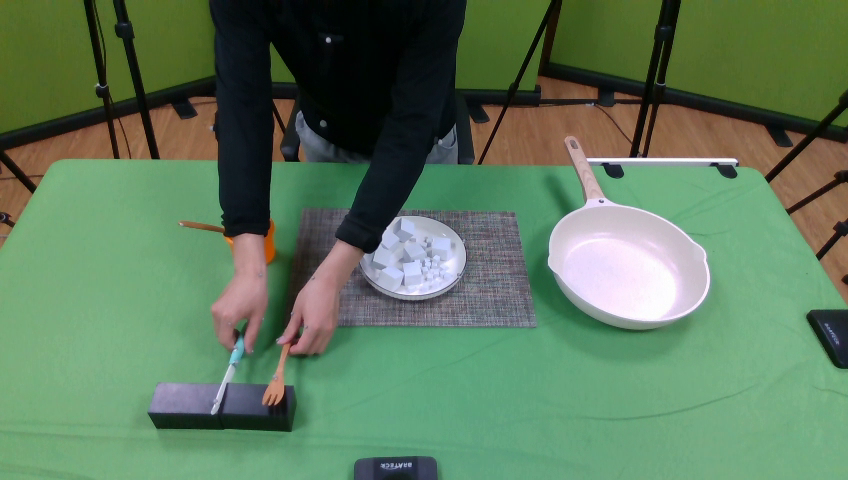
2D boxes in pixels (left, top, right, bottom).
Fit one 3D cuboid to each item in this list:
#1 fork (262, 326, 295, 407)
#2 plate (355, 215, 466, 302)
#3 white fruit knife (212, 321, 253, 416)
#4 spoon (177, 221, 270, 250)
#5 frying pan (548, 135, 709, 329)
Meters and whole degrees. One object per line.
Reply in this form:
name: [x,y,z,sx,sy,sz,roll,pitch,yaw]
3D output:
fork: [-0.225,0.193,0.955,0.028,0.019,0.206,14,27,-9]
plate: [-0.025,0.038,1.144,0.208,0.039,0.206,2,46,-2]
white fruit knife: [-0.297,0.193,0.945,0.016,0.027,0.206,-1,32,1]
spoon: [-0.358,-0.011,1.093,0.021,0.195,0.041,-53,53,10]
frying pan: [0.360,-0.033,1.200,0.307,0.103,0.484,-4,55,-9]
